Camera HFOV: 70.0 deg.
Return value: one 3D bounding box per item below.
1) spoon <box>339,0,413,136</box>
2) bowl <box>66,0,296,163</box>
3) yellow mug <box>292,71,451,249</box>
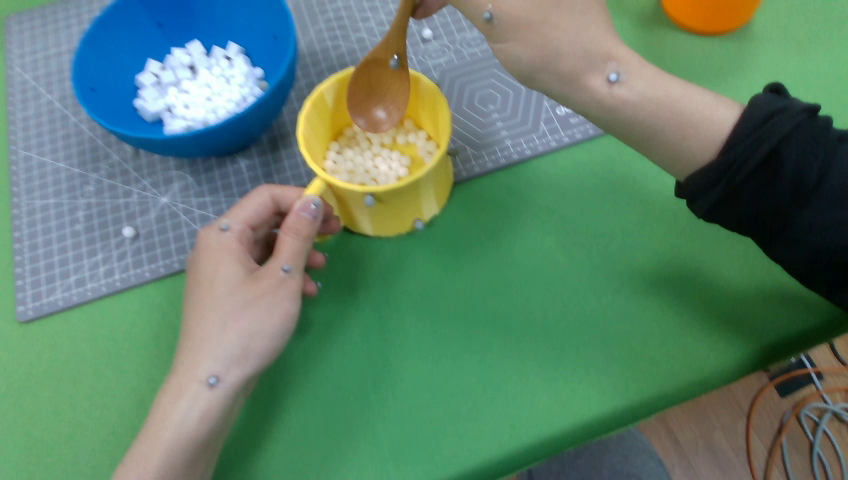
[{"bbox_3d":[-0.010,-0.132,0.336,0.042,0.194,0.021,22,50,-6],"label":"spoon"},{"bbox_3d":[-0.160,-0.109,0.436,0.151,0.077,0.150,-1,64,2],"label":"bowl"},{"bbox_3d":[-0.041,-0.046,0.407,0.099,0.064,0.130,34,72,17],"label":"yellow mug"}]
